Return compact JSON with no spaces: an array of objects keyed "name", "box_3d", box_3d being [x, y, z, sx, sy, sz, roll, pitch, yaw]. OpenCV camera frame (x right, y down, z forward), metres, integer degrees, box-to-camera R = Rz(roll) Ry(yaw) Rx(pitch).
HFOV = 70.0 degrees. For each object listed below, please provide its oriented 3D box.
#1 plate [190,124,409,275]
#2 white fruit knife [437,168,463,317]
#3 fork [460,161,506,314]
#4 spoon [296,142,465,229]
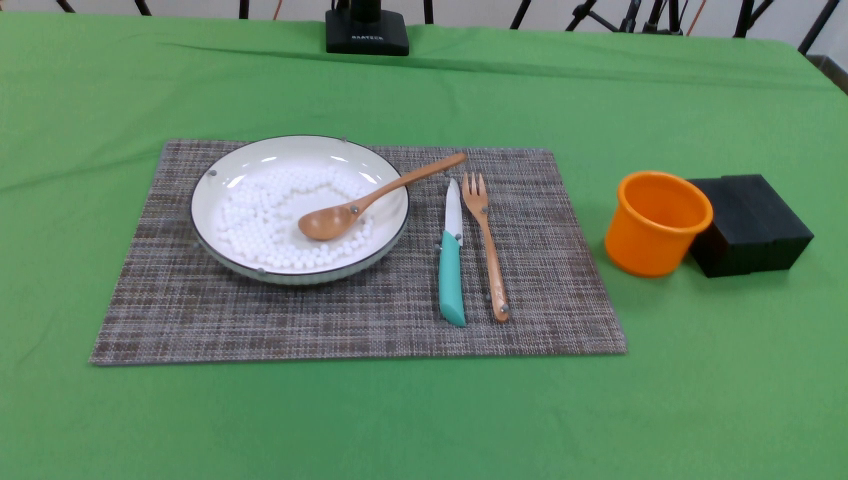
[{"name":"plate","box_3d":[-0.119,-0.040,0.600,0.209,0.038,0.207,4,45,-4]},{"name":"white fruit knife","box_3d":[0.026,-0.009,0.608,0.027,0.016,0.205,29,38,-23]},{"name":"fork","box_3d":[0.060,-0.011,0.610,0.028,0.019,0.205,9,43,-16]},{"name":"spoon","box_3d":[-0.038,-0.058,0.609,0.194,0.022,0.041,-29,54,-16]}]
